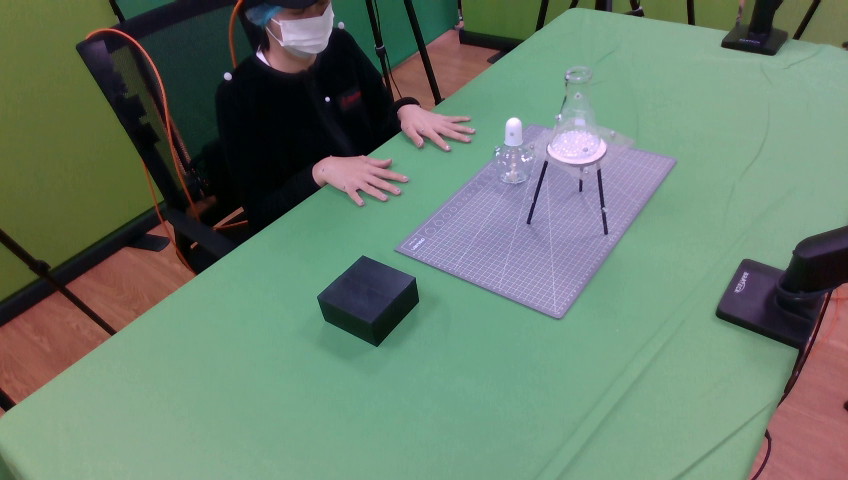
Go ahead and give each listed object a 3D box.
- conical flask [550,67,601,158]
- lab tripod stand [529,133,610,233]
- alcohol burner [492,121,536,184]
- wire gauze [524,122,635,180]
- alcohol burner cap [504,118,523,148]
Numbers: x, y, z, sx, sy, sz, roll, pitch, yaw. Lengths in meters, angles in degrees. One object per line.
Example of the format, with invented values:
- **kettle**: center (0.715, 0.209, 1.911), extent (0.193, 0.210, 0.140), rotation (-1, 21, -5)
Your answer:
- **conical flask**: center (0.221, -0.186, 0.875), extent (0.075, 0.122, 0.075), rotation (-5, 40, 5)
- **lab tripod stand**: center (0.236, -0.089, 0.953), extent (0.148, 0.132, 0.147), rotation (-5, 42, 5)
- **alcohol burner**: center (0.159, -0.158, 1.064), extent (0.078, 0.119, 0.077), rotation (-3, 41, 3)
- **wire gauze**: center (0.233, -0.142, 0.913), extent (0.122, 0.011, 0.124), rotation (-31, 43, -26)
- **alcohol burner cap**: center (0.154, -0.186, 1.042), extent (0.034, 0.048, 0.033), rotation (-4, 33, 3)
